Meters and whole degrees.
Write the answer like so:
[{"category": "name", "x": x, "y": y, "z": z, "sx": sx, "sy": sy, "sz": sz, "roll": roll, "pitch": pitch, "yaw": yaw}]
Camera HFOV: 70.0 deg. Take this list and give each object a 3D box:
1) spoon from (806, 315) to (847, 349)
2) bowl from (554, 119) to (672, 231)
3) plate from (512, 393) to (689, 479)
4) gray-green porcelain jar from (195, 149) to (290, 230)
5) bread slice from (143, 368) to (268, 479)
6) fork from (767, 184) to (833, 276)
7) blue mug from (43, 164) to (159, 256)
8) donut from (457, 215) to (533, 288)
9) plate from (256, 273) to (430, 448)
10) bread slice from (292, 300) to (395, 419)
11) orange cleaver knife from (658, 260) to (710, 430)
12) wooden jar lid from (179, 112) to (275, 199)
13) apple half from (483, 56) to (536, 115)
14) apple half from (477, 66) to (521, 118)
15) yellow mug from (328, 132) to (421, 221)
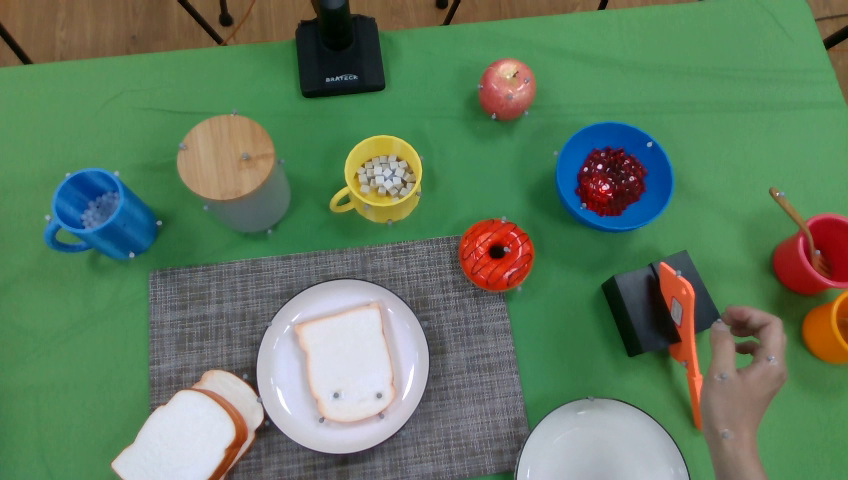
[{"category": "spoon", "x": 0.568, "y": 0.090, "z": 0.730, "sx": 0.022, "sy": 0.193, "sz": 0.041, "roll": 6, "pitch": 63, "yaw": -48}, {"category": "bowl", "x": 0.240, "y": -0.075, "z": 0.803, "sx": 0.151, "sy": 0.077, "sz": 0.150, "roll": 1, "pitch": 73, "yaw": -2}, {"category": "plate", "x": 0.204, "y": 0.287, "z": 0.711, "sx": 0.209, "sy": 0.038, "sz": 0.208, "roll": 1, "pitch": 73, "yaw": -2}, {"category": "gray-green porcelain jar", "x": -0.227, "y": -0.076, "z": 0.757, "sx": 0.106, "sy": 0.127, "sz": 0.105, "roll": 1, "pitch": 72, "yaw": -2}, {"category": "bread slice", "x": -0.245, "y": 0.220, "z": 0.709, "sx": 0.104, "sy": 0.019, "sz": 0.131, "roll": 32, "pitch": 75, "yaw": 7}, {"category": "fork", "x": 0.473, "y": -0.011, "z": 0.757, "sx": 0.209, "sy": 0.018, "sz": 0.028, "roll": 37, "pitch": 68, "yaw": -35}, {"category": "blue mug", "x": -0.403, "y": -0.026, "z": 0.744, "sx": 0.116, "sy": 0.106, "sz": 0.082, "roll": -32, "pitch": 76, "yaw": -11}, {"category": "donut", "x": 0.092, "y": 0.014, "z": 0.783, "sx": 0.099, "sy": 0.048, "sz": 0.098, "roll": 1, "pitch": 74, "yaw": -2}, {"category": "plate", "x": -0.096, "y": 0.145, "z": 0.738, "sx": 0.208, "sy": 0.039, "sz": 0.206, "roll": 1, "pitch": 73, "yaw": -2}, {"category": "bread slice", "x": -0.090, "y": 0.148, "z": 0.738, "sx": 0.107, "sy": 0.018, "sz": 0.133, "roll": -17, "pitch": 74, "yaw": -7}, {"category": "orange cleaver knife", "x": 0.316, "y": 0.128, "z": 0.741, "sx": 0.012, "sy": 0.077, "sz": 0.212, "roll": -16, "pitch": 103, "yaw": -6}, {"category": "wooden jar lid", "x": -0.225, "y": -0.095, "z": 0.698, "sx": 0.108, "sy": 0.021, "sz": 0.107, "roll": 1, "pitch": 71, "yaw": -1}, {"category": "apple half", "x": 0.124, "y": -0.218, "z": 0.844, "sx": 0.053, "sy": 0.075, "sz": 0.080, "roll": -38, "pitch": 74, "yaw": -18}, {"category": "apple half", "x": 0.095, "y": -0.194, "z": 0.834, "sx": 0.033, "sy": 0.081, "sz": 0.081, "roll": -39, "pitch": 78, "yaw": -18}, {"category": "yellow mug", "x": -0.067, "y": -0.075, "z": 0.796, "sx": 0.131, "sy": 0.064, "sz": 0.099, "roll": -30, "pitch": 76, "yaw": -10}]
